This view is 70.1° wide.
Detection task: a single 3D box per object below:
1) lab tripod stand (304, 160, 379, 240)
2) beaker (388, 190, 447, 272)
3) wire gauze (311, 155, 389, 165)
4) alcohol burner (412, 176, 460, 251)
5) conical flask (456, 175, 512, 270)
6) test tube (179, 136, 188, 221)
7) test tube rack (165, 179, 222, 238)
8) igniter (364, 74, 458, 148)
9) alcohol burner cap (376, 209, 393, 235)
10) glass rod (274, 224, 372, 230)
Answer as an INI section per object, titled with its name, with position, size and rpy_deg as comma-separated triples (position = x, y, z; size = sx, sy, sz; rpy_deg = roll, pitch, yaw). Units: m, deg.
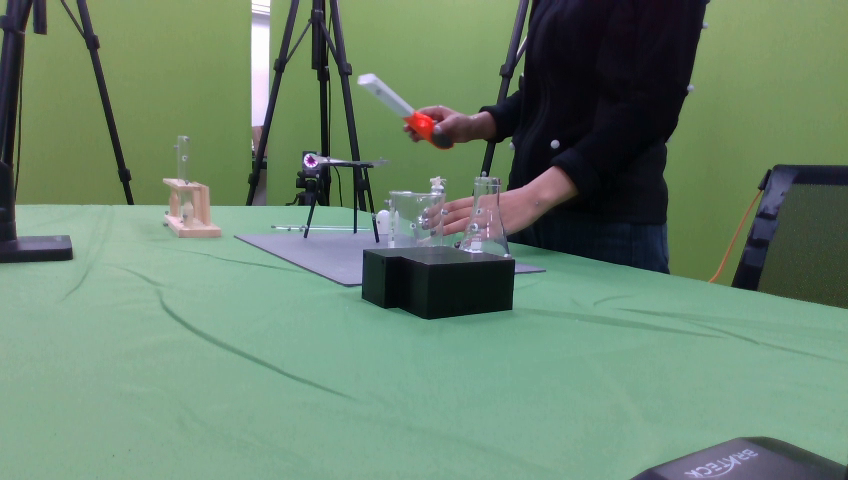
[lab tripod stand]
position = -0.131, -0.071, 1.046
size = 0.148, 0.131, 0.148
rpy_deg = 4, 7, 0
[beaker]
position = -0.010, -0.013, 0.771
size = 0.074, 0.100, 0.084
rpy_deg = 3, 7, 4
[wire gauze]
position = -0.128, -0.137, 1.042
size = 0.122, 0.011, 0.124
rpy_deg = 1, 8, -18
[alcohol burner]
position = 0.020, -0.043, 0.958
size = 0.078, 0.119, 0.078
rpy_deg = 4, 9, 0
[conical flask]
position = 0.083, -0.025, 0.801
size = 0.075, 0.122, 0.075
rpy_deg = 2, 7, 0
[test tube]
position = -0.425, -0.108, 1.070
size = 0.017, 0.150, 0.017
rpy_deg = 4, 9, 0
[test tube rack]
position = -0.423, -0.062, 1.098
size = 0.067, 0.085, 0.241
rpy_deg = -2, 9, -28
[igniter]
position = -0.016, -0.233, 1.129
size = 0.057, 0.025, 0.278
rpy_deg = -1, -17, 32
[alcohol burner cap]
position = -0.076, -0.035, 1.144
size = 0.034, 0.048, 0.034
rpy_deg = 2, 7, 0
[glass rod]
position = -0.193, -0.024, 1.176
size = 0.201, 0.008, 0.008
rpy_deg = 1, 6, -31
